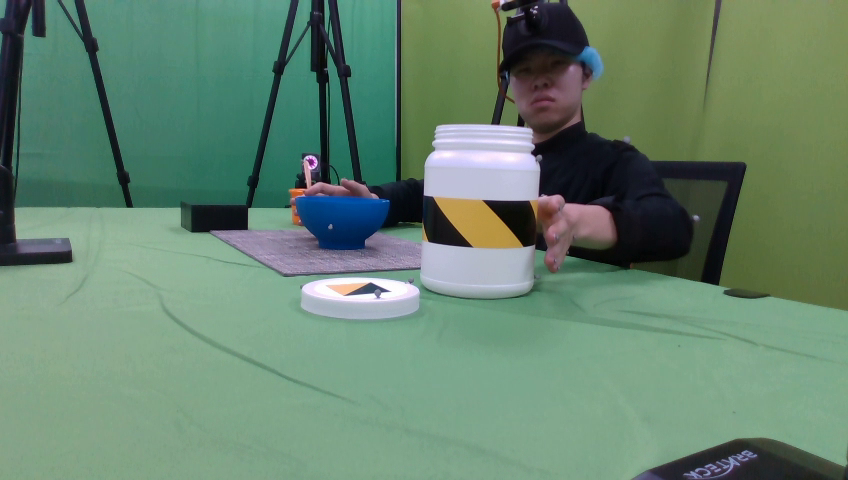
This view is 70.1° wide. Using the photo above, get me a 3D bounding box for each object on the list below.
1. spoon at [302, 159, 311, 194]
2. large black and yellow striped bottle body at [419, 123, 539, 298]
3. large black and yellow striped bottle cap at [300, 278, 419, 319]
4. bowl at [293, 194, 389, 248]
[{"bbox_3d":[-0.256,-0.113,1.341,0.042,0.193,0.021,3,-38,-18],"label":"spoon"},{"bbox_3d":[0.062,-0.036,0.683,0.131,0.184,0.130,2,7,0],"label":"large black and yellow striped bottle body"},{"bbox_3d":[-0.062,0.055,0.588,0.115,0.019,0.115,1,6,0],"label":"large black and yellow striped bottle cap"},{"bbox_3d":[-0.132,-0.030,0.961,0.151,0.077,0.151,2,7,0],"label":"bowl"}]
